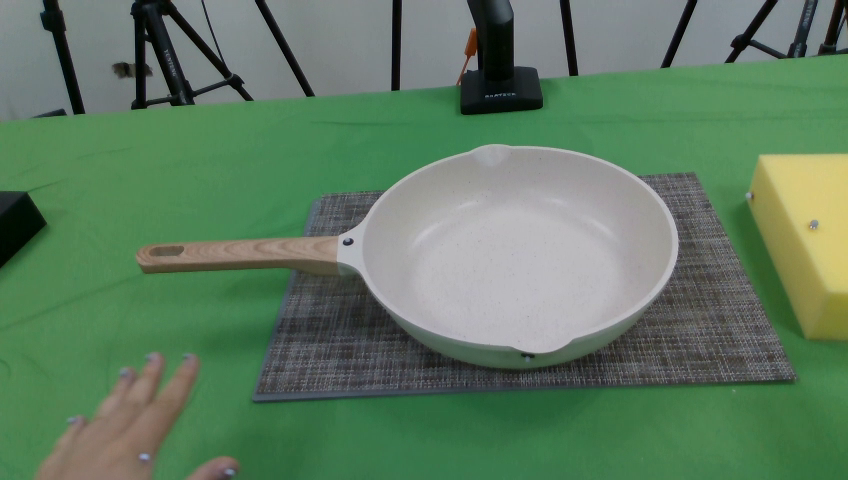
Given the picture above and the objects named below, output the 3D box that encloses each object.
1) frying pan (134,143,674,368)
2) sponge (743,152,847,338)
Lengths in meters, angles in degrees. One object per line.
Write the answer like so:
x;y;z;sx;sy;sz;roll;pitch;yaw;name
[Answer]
-0.022;0.010;0.577;0.488;0.103;0.303;0;38;-3;frying pan
0.392;-0.003;0.564;0.118;0.061;0.205;0;39;9;sponge
